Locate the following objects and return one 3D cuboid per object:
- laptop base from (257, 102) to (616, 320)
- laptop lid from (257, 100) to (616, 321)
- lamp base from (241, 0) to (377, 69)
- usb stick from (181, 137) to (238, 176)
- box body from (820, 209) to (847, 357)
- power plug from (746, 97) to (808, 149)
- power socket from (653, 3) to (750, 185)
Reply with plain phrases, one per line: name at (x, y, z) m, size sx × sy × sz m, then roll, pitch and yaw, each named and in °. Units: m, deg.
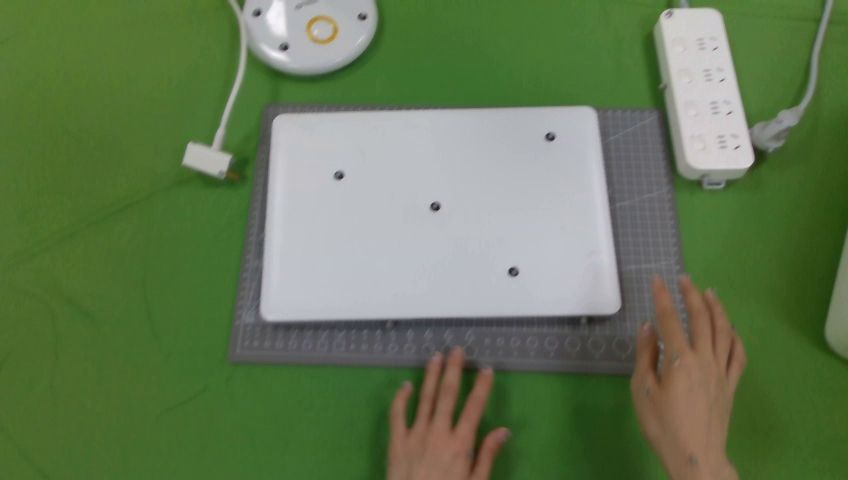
laptop base at (0.010, -0.034, 0.633) m, size 0.354 × 0.023 × 0.234 m, roll -1°, pitch 73°, yaw 1°
laptop lid at (0.009, -0.036, 0.621) m, size 0.357 × 0.013 × 0.240 m, roll 0°, pitch 72°, yaw 2°
lamp base at (-0.147, -0.308, 0.652) m, size 0.160 × 0.181 × 0.178 m, roll -36°, pitch 70°, yaw -11°
usb stick at (-0.226, -0.087, 0.649) m, size 0.059 × 0.021 × 0.027 m, roll 23°, pitch 100°, yaw -14°
box body at (0.545, -0.026, 0.539) m, size 0.253 × 0.161 × 0.362 m, roll 23°, pitch 72°, yaw 10°
power plug at (0.375, -0.118, 0.643) m, size 0.073 × 0.053 × 0.035 m, roll -13°, pitch 66°, yaw -20°
power socket at (0.302, -0.169, 0.668) m, size 0.072 × 0.033 × 0.225 m, roll 0°, pitch 69°, yaw 0°
